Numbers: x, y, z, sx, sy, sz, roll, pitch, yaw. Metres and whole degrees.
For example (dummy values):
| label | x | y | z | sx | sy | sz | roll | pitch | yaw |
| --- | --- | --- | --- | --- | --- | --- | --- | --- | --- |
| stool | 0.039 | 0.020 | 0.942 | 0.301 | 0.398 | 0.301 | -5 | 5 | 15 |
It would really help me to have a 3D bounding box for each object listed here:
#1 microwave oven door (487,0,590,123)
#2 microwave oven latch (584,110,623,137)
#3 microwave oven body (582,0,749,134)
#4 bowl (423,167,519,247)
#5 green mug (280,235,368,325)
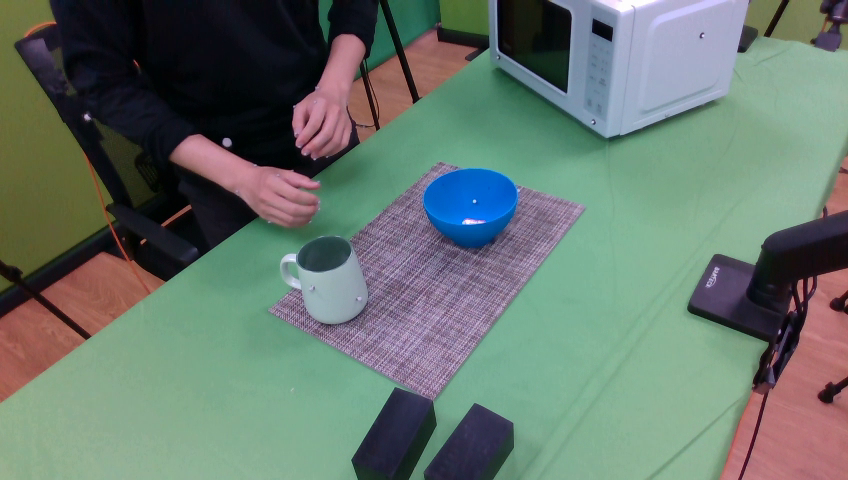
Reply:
| label | x | y | z | sx | sy | sz | roll | pitch | yaw |
| --- | --- | --- | --- | --- | --- | --- | --- | --- | --- |
| microwave oven door | 0.232 | -0.420 | 1.231 | 0.039 | 0.245 | 0.352 | -22 | 43 | -16 |
| microwave oven latch | 0.337 | -0.222 | 1.142 | 0.030 | 0.029 | 0.078 | -21 | 42 | -14 |
| microwave oven body | 0.382 | -0.445 | 1.246 | 0.327 | 0.261 | 0.437 | -22 | 42 | -16 |
| bowl | 0.075 | -0.041 | 0.958 | 0.151 | 0.077 | 0.150 | -4 | 40 | 4 |
| green mug | -0.146 | 0.055 | 0.857 | 0.125 | 0.105 | 0.092 | 8 | 43 | 17 |
